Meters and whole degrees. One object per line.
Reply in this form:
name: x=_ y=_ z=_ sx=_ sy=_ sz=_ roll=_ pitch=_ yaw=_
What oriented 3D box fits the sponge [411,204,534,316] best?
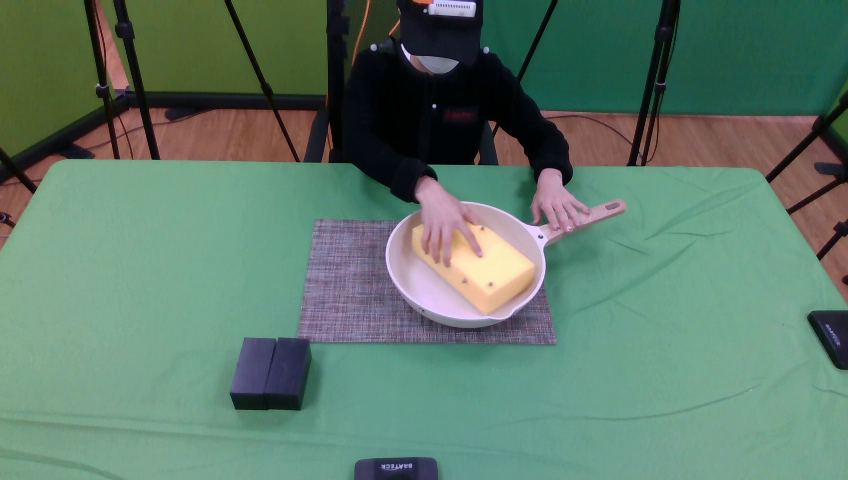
sponge: x=0.086 y=0.032 z=1.127 sx=0.118 sy=0.061 sz=0.205 roll=-31 pitch=55 yaw=-29

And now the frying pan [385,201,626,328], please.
frying pan: x=0.169 y=0.013 z=1.138 sx=0.488 sy=0.103 sz=0.304 roll=-19 pitch=51 yaw=-11
